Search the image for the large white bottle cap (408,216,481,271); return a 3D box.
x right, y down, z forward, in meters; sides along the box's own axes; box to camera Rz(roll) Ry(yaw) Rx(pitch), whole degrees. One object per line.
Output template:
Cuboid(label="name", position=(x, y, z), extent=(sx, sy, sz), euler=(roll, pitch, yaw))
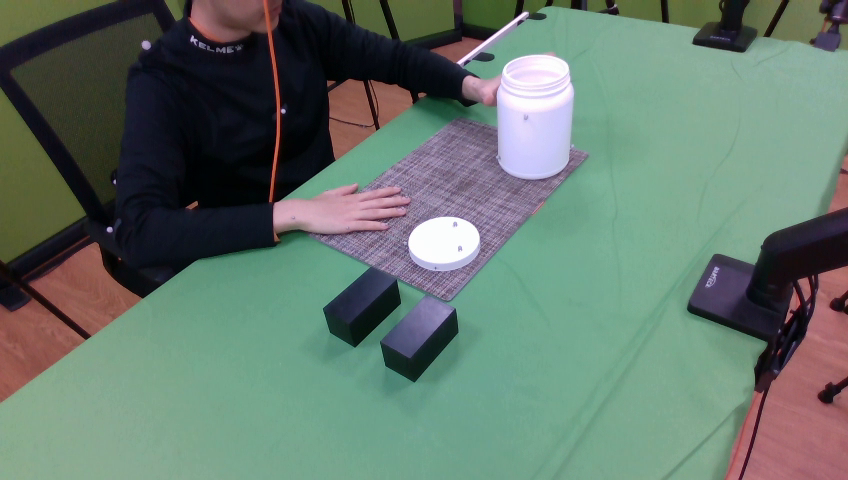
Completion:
Cuboid(label="large white bottle cap", position=(0.032, 0.004, 0.957), extent=(0.115, 0.018, 0.114), euler=(-4, 41, 4))

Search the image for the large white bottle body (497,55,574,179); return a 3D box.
Cuboid(label="large white bottle body", position=(0.194, -0.216, 1.060), extent=(0.130, 0.185, 0.130), euler=(-4, 41, 4))
